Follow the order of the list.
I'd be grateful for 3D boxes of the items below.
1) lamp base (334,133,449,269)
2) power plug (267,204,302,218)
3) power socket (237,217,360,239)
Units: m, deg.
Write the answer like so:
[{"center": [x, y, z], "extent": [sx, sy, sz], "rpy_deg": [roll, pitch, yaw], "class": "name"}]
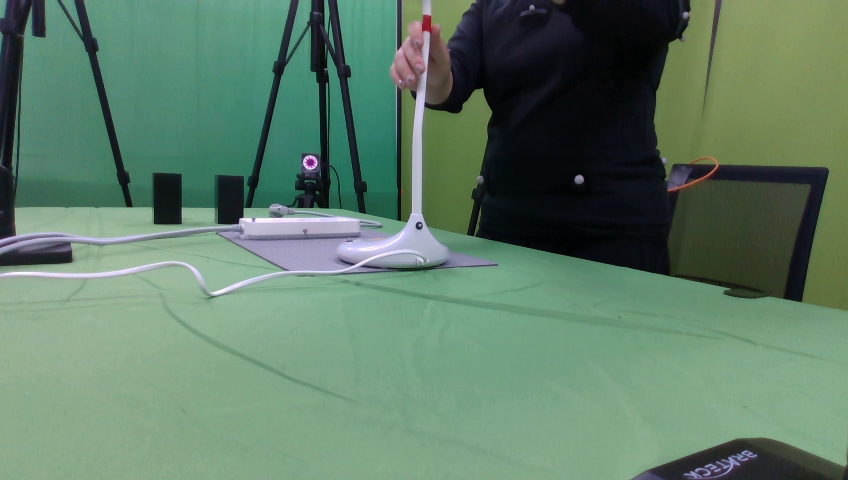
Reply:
[{"center": [-0.034, -0.057, 0.831], "extent": [0.161, 0.180, 0.178], "rpy_deg": [-3, 11, -36], "class": "lamp base"}, {"center": [-0.327, -0.060, 1.404], "extent": [0.073, 0.035, 0.052], "rpy_deg": [22, -14, -26], "class": "power plug"}, {"center": [-0.220, -0.023, 1.080], "extent": [0.228, 0.032, 0.072], "rpy_deg": [-2, 8, -33], "class": "power socket"}]
